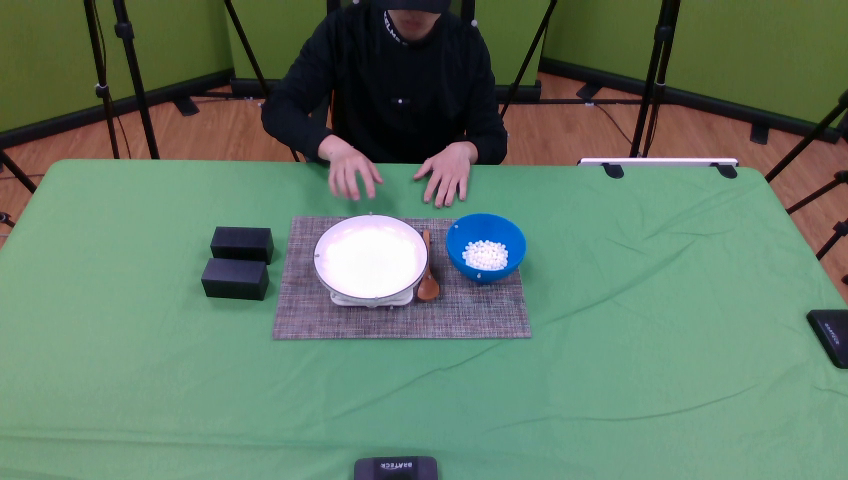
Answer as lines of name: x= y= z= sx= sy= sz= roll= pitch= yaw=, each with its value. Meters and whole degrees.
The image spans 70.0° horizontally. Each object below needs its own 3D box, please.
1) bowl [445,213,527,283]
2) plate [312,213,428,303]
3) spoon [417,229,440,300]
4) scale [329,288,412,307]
bowl: x=0.112 y=0.027 z=1.136 sx=0.151 sy=0.077 sz=0.150 roll=2 pitch=46 yaw=-2
plate: x=-0.097 y=0.036 z=1.100 sx=0.209 sy=0.038 sz=0.208 roll=2 pitch=46 yaw=-2
spoon: x=0.006 y=0.043 z=1.152 sx=0.041 sy=0.022 sz=0.192 roll=-8 pitch=45 yaw=6
scale: x=-0.098 y=0.042 z=1.139 sx=0.149 sy=0.032 sz=0.199 roll=1 pitch=46 yaw=-4
